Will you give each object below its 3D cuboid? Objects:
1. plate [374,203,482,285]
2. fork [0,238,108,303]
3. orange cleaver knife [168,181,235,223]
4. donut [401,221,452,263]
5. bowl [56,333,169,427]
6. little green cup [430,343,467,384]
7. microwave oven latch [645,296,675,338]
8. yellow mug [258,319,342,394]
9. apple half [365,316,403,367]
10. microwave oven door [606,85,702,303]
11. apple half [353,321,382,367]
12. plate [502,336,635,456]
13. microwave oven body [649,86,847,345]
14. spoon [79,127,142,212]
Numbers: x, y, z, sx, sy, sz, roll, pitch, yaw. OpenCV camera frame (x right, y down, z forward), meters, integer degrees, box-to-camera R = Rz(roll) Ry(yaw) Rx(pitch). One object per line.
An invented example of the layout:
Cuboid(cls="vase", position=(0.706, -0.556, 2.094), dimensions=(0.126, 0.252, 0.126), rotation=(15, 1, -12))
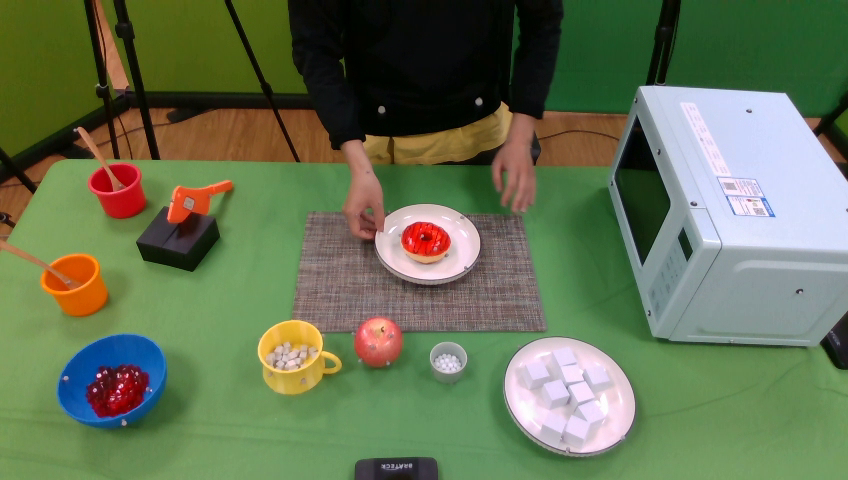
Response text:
Cuboid(cls="plate", position=(0.007, 0.011, 1.172), dimensions=(0.209, 0.038, 0.208), rotation=(2, 46, -2))
Cuboid(cls="fork", position=(-0.633, 0.048, 1.017), dimensions=(0.208, 0.018, 0.028), rotation=(40, 41, -27))
Cuboid(cls="orange cleaver knife", position=(-0.436, -0.078, 1.196), dimensions=(0.012, 0.077, 0.211), rotation=(16, 15, 10))
Cuboid(cls="donut", position=(0.005, 0.003, 1.163), dimensions=(0.099, 0.048, 0.098), rotation=(3, 44, -3))
Cuboid(cls="bowl", position=(-0.456, 0.223, 0.911), dimensions=(0.151, 0.077, 0.150), rotation=(3, 46, -2))
Cuboid(cls="little green cup", position=(0.039, 0.203, 0.994), dimensions=(0.061, 0.039, 0.061), rotation=(2, 46, -2))
Cuboid(cls="microwave oven latch", position=(0.412, 0.134, 1.061), dimensions=(0.030, 0.029, 0.078), rotation=(3, 45, 0))
Cuboid(cls="yellow mug", position=(-0.196, 0.189, 0.972), dimensions=(0.131, 0.064, 0.099), rotation=(9, 46, 3))
Cuboid(cls="apple half", position=(-0.063, 0.165, 1.000), dimensions=(0.053, 0.075, 0.080), rotation=(-16, 45, -24))
Cuboid(cls="microwave oven door", position=(0.423, -0.094, 1.140), dimensions=(0.039, 0.245, 0.353), rotation=(2, 46, -1))
Cuboid(cls="apple half", position=(-0.098, 0.177, 0.984), dimensions=(0.033, 0.081, 0.081), rotation=(-17, 49, -25))
Cuboid(cls="plate", position=(0.225, 0.248, 0.963), dimensions=(0.208, 0.039, 0.206), rotation=(2, 46, -2))
Cuboid(cls="microwave oven body", position=(0.567, -0.053, 1.118), dimensions=(0.326, 0.261, 0.439), rotation=(2, 45, -1))
Cuboid(cls="spoon", position=(-0.624, -0.140, 1.203), dimensions=(0.041, 0.021, 0.194), rotation=(-33, 100, -26))
